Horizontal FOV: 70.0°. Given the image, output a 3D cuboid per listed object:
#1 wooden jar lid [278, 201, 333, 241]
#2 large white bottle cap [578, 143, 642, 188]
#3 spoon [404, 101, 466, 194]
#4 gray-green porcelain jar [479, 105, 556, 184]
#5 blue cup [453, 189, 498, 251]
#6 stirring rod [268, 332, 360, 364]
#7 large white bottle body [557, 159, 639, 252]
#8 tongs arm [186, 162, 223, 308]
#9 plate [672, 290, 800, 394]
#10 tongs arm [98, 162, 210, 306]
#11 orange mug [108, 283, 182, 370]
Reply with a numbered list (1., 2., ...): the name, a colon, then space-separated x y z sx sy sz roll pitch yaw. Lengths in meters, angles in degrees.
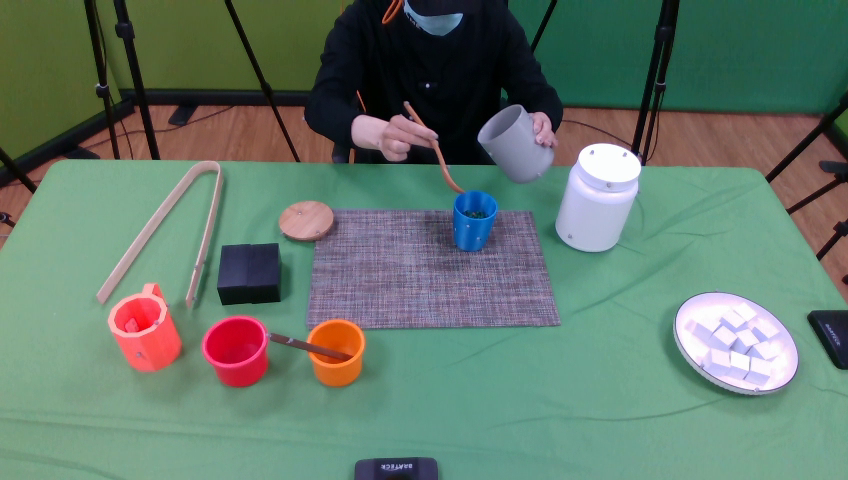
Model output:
1. wooden jar lid: -0.236 -0.036 1.213 0.108 0.021 0.107 0 47 0
2. large white bottle cap: 0.344 -0.139 1.123 0.115 0.018 0.114 2 46 -2
3. spoon: 0.020 -0.160 1.066 0.021 0.194 0.041 -28 15 5
4. gray-green porcelain jar: 0.186 -0.180 1.176 0.106 0.127 0.105 -35 27 21
5. blue cup: 0.094 -0.032 1.173 0.093 0.101 0.092 3 46 -3
6. stirring rod: -0.167 0.169 0.941 0.177 0.006 0.014 26 26 -41
7. large white bottle body: 0.340 -0.081 1.185 0.131 0.185 0.130 2 46 -1
8. tongs arm: -0.435 -0.025 1.180 0.051 0.027 0.382 -4 46 1
9. plate: 0.533 0.178 1.050 0.208 0.039 0.206 2 46 -2
10. tongs arm: -0.519 -0.027 1.185 0.028 0.028 0.385 4 46 13
11. orange mug: -0.445 0.133 0.983 0.083 0.101 0.125 -1 50 -5
